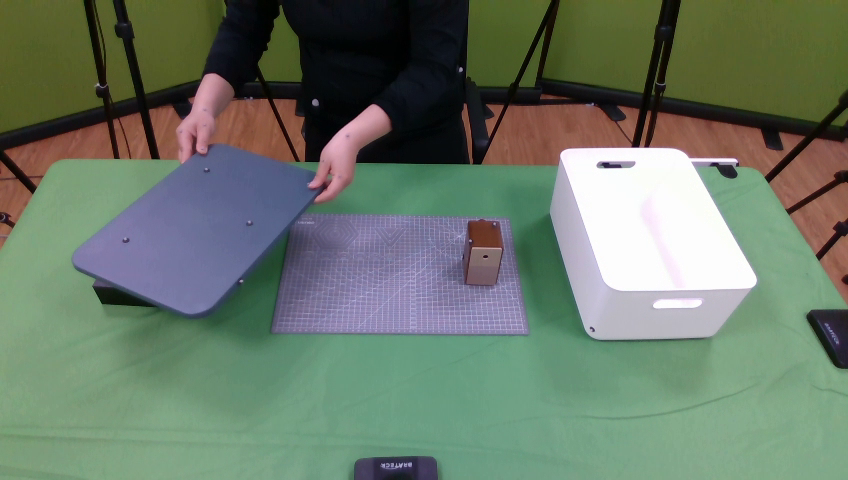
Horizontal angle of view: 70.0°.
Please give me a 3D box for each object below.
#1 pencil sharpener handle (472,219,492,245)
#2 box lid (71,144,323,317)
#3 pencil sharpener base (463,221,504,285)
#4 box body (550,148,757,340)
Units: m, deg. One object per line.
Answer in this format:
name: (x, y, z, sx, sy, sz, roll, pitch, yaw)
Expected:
pencil sharpener handle: (0.105, -0.021, 1.146, 0.036, 0.068, 0.030, 6, 45, -7)
box lid: (-0.368, -0.035, 1.024, 0.263, 0.015, 0.370, 19, 46, 15)
pencil sharpener base: (0.107, 0.024, 1.119, 0.061, 0.107, 0.076, 1, 45, -2)
box body: (0.395, 0.003, 1.127, 0.254, 0.161, 0.361, -1, 46, -5)
